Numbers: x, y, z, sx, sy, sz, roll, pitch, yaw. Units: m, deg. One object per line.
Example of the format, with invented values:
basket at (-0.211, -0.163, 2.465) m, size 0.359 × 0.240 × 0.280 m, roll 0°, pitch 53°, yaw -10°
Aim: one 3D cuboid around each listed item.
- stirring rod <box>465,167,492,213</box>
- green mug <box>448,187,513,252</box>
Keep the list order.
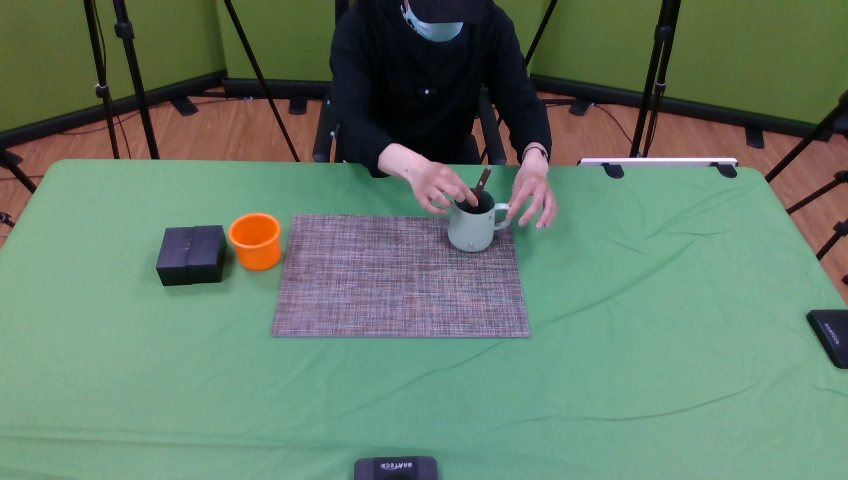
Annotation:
stirring rod at (0.091, -0.070, 1.139) m, size 0.014 × 0.177 × 0.006 m, roll 11°, pitch 43°, yaw -13°
green mug at (0.112, -0.041, 1.179) m, size 0.125 × 0.105 × 0.092 m, roll -7°, pitch 47°, yaw -10°
